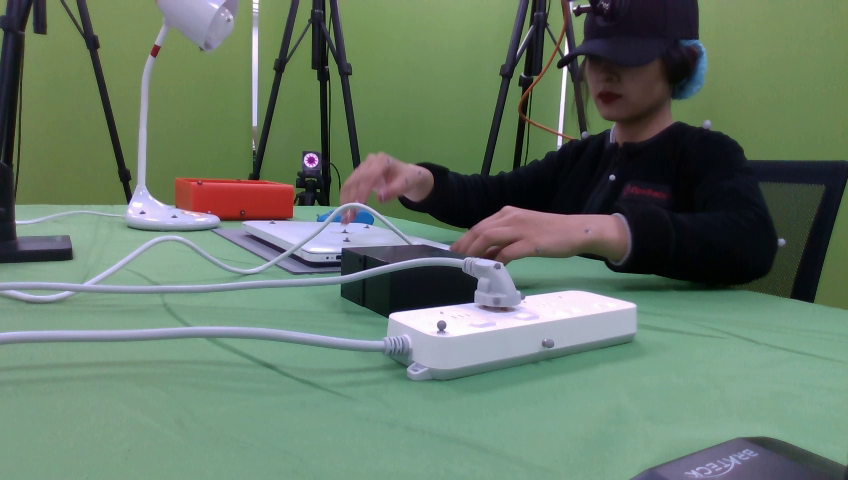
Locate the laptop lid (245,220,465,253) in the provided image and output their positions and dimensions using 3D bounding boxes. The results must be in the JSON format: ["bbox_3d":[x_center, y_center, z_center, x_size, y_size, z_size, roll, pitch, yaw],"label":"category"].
[{"bbox_3d":[-0.124,-0.009,0.945,0.243,0.013,0.355,1,7,-29],"label":"laptop lid"}]

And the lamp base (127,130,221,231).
[{"bbox_3d":[-0.469,-0.112,1.108,0.179,0.180,0.160,0,7,3],"label":"lamp base"}]

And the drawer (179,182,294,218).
[{"bbox_3d":[-0.420,-0.091,1.354,0.213,0.073,0.193,-3,10,-31],"label":"drawer"}]

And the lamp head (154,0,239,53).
[{"bbox_3d":[-0.406,-0.402,1.059,0.123,0.112,0.112,25,5,-6],"label":"lamp head"}]

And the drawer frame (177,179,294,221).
[{"bbox_3d":[-0.422,-0.092,1.352,0.215,0.082,0.200,-3,10,-32],"label":"drawer frame"}]

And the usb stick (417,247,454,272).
[{"bbox_3d":[0.011,0.025,0.755,0.027,0.021,0.059,35,-19,-18],"label":"usb stick"}]

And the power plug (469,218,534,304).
[{"bbox_3d":[0.054,0.013,0.454,0.035,0.072,0.052,-23,-3,-40],"label":"power plug"}]

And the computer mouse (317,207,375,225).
[{"bbox_3d":[-0.163,-0.048,1.264,0.118,0.041,0.062,-6,12,-29],"label":"computer mouse"}]

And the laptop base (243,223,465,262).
[{"bbox_3d":[-0.126,0.003,0.945,0.237,0.023,0.352,2,6,-31],"label":"laptop base"}]

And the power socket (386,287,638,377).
[{"bbox_3d":[0.074,0.064,0.461,0.228,0.032,0.072,-4,8,-34],"label":"power socket"}]
